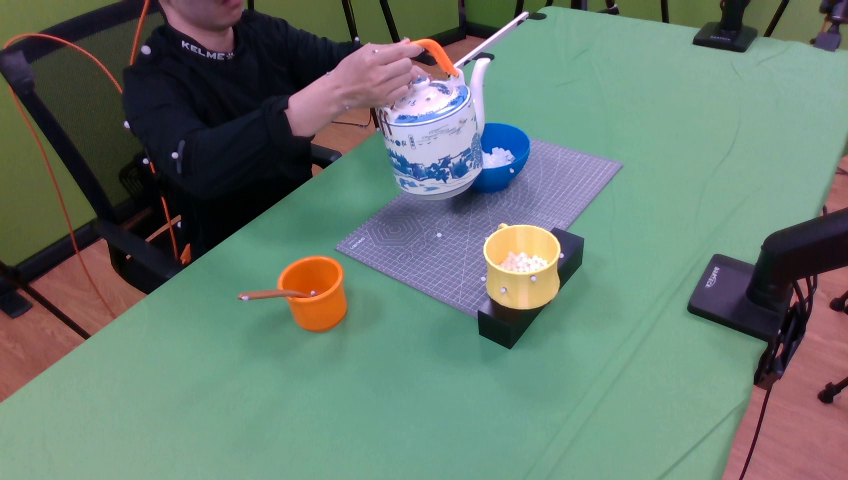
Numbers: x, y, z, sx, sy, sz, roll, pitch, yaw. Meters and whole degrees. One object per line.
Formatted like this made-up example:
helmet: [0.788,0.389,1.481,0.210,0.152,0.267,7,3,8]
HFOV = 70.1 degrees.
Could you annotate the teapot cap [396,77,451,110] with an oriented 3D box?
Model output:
teapot cap: [-0.002,-0.214,0.881,0.085,0.044,0.085,-9,34,7]

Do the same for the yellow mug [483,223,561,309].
yellow mug: [0.126,0.025,0.811,0.100,0.064,0.130,-16,39,-9]

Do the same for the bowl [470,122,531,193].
bowl: [0.113,-0.136,1.064,0.151,0.077,0.150,-4,41,4]

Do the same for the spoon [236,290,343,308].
spoon: [-0.176,0.076,0.808,0.041,0.195,0.021,23,93,30]

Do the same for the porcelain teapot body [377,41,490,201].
porcelain teapot body: [0.027,-0.197,0.916,0.206,0.226,0.144,-34,40,-25]
